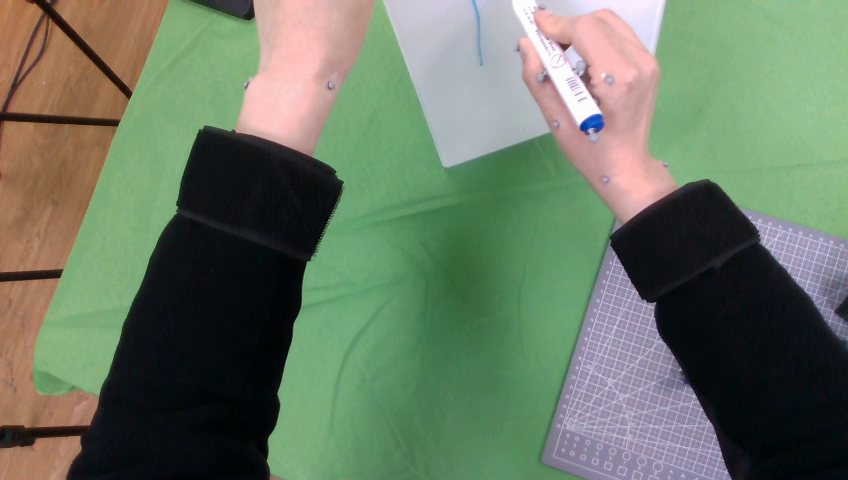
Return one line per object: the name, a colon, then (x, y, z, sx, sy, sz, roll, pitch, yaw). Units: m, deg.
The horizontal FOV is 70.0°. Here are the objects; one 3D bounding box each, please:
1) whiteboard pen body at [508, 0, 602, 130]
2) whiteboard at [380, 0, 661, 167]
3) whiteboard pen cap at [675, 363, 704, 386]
whiteboard pen body: (0.079, -0.128, 0.396, 0.017, 0.017, 0.139, -23, 65, 4)
whiteboard: (0.071, -0.227, 0.510, 0.217, 0.308, 0.142, -18, 66, 5)
whiteboard pen cap: (0.254, 0.127, 0.580, 0.018, 0.033, 0.018, 0, 89, 4)
